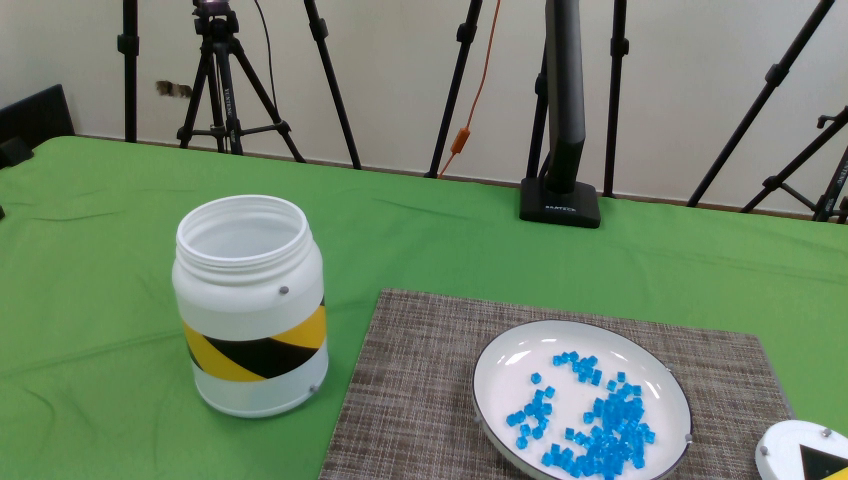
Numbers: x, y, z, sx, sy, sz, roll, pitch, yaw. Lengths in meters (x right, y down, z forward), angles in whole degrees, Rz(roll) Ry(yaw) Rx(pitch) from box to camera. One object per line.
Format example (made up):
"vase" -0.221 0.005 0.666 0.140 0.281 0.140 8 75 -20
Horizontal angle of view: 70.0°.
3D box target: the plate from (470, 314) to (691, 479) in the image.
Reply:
"plate" 0.147 0.154 0.589 0.208 0.039 0.205 3 35 -2

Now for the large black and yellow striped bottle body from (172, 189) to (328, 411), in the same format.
"large black and yellow striped bottle body" -0.162 0.057 0.578 0.131 0.185 0.129 2 35 -1

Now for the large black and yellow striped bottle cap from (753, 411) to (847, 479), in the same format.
"large black and yellow striped bottle cap" 0.363 0.207 0.553 0.115 0.019 0.114 6 36 -4
